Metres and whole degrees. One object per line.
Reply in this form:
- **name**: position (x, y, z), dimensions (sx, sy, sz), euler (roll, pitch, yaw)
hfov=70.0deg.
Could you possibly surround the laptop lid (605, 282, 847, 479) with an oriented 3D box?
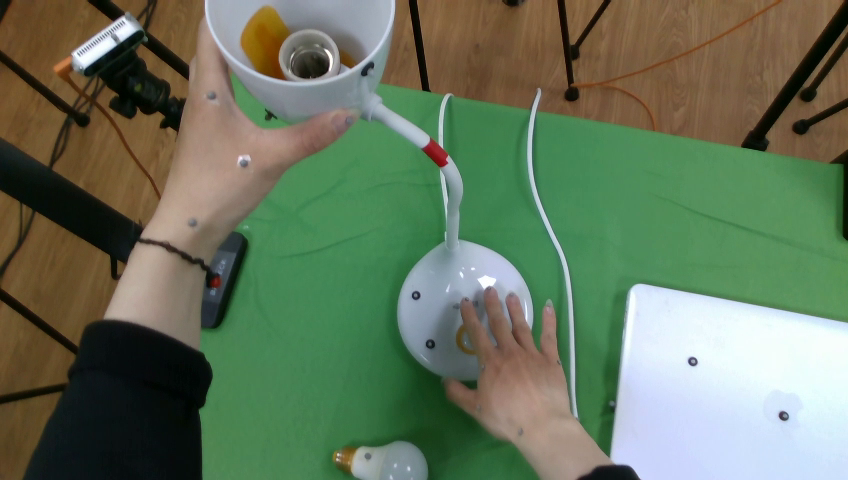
- **laptop lid**: position (0.386, 0.187, 0.654), dimensions (0.356, 0.013, 0.240), euler (12, 74, 6)

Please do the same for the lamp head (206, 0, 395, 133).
- **lamp head**: position (-0.072, -0.123, 0.410), dimensions (0.112, 0.123, 0.111), euler (0, 71, 1)

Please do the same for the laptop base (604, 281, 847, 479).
- **laptop base**: position (0.387, 0.189, 0.666), dimensions (0.354, 0.023, 0.234), euler (11, 75, 6)

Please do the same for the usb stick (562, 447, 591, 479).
- **usb stick**: position (0.165, 0.254, 0.649), dimensions (0.027, 0.021, 0.059), euler (-2, 81, 1)

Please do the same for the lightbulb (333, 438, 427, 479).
- **lightbulb**: position (-0.049, 0.239, 0.651), dimensions (0.107, 0.060, 0.059), euler (6, 71, 20)

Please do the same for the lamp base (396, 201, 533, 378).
- **lamp base**: position (0.039, 0.045, 0.640), dimensions (0.161, 0.181, 0.178), euler (-18, 69, -3)
